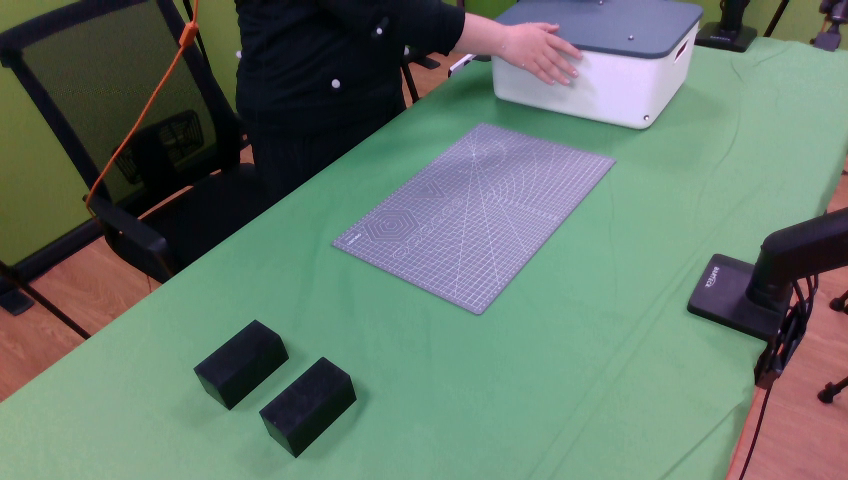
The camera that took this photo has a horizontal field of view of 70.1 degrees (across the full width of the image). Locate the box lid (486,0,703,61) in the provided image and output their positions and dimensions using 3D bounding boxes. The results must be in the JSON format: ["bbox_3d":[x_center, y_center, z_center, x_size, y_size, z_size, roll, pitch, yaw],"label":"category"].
[{"bbox_3d":[0.338,-0.435,1.208,0.369,0.015,0.264,20,47,29],"label":"box lid"}]

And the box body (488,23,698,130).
[{"bbox_3d":[0.345,-0.379,1.257,0.361,0.161,0.255,20,48,29],"label":"box body"}]
